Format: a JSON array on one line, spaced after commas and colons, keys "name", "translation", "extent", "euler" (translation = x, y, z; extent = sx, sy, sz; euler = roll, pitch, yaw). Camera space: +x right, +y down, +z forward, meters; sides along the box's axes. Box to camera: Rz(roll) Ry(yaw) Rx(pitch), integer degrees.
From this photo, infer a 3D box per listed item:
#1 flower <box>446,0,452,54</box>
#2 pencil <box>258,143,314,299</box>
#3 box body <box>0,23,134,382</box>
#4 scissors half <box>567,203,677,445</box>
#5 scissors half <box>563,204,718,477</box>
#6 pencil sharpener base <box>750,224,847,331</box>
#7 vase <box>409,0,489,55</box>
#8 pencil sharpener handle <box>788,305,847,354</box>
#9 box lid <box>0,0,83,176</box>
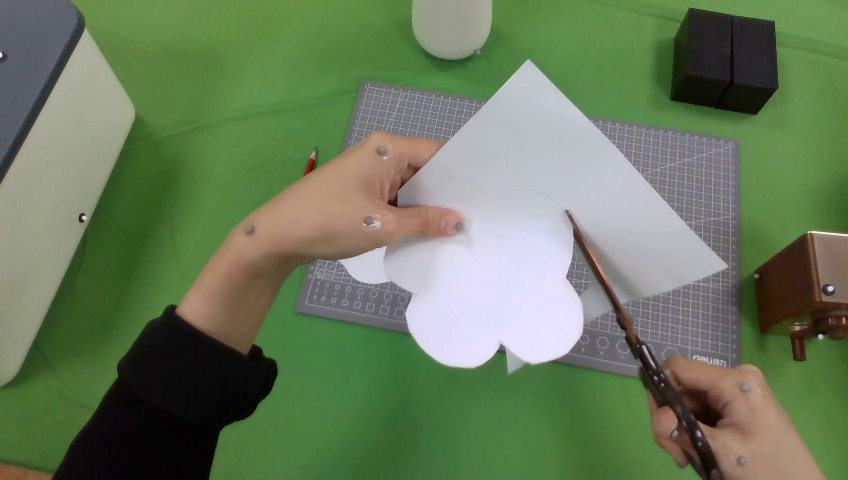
[{"name": "flower", "translation": [0.024, -0.349, 0.604], "extent": [0.044, 0.365, 0.038], "euler": [3, 49, 5]}, {"name": "pencil", "translation": [-0.148, -0.026, 0.662], "extent": [0.012, 0.012, 0.193], "euler": [11, 66, 5]}, {"name": "box body", "translation": [-0.483, -0.058, 0.591], "extent": [0.254, 0.161, 0.361], "euler": [10, 67, 4]}, {"name": "scissors half", "translation": [0.123, 0.053, 0.366], "extent": [0.013, 0.040, 0.176], "euler": [-27, 109, 7]}, {"name": "scissors half", "translation": [0.122, 0.056, 0.345], "extent": [0.013, 0.040, 0.175], "euler": [-28, 86, 2]}, {"name": "pencil sharpener base", "translation": [0.370, 0.042, 0.580], "extent": [0.061, 0.108, 0.076], "euler": [6, 67, 3]}, {"name": "vase", "translation": [0.029, -0.303, 0.675], "extent": [0.098, 0.201, 0.097], "euler": [0, 66, 1]}, {"name": "pencil sharpener handle", "translation": [0.360, 0.083, 0.549], "extent": [0.036, 0.068, 0.030], "euler": [11, 67, -10]}, {"name": "box lid", "translation": [-0.483, -0.090, 0.523], "extent": [0.263, 0.015, 0.369], "euler": [10, 67, 4]}]
